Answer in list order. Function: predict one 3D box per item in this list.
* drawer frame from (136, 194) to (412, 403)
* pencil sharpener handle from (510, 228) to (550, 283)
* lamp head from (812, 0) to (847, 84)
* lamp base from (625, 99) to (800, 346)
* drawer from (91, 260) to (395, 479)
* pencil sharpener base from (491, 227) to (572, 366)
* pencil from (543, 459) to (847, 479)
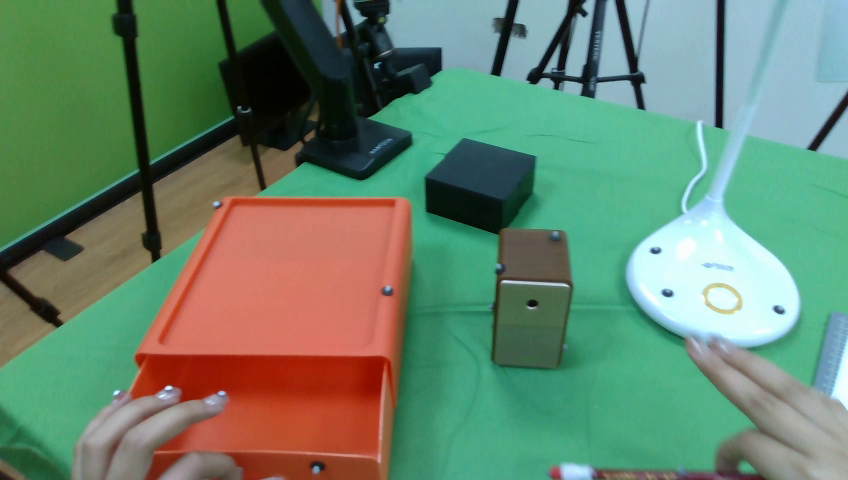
[{"bbox_3d":[-0.118,0.050,0.561,0.201,0.083,0.211,0,38,3],"label":"drawer frame"},{"bbox_3d":[0.096,0.008,0.565,0.036,0.068,0.030,7,40,2],"label":"pencil sharpener handle"},{"bbox_3d":[0.274,-0.151,0.330,0.112,0.123,0.112,-8,8,2],"label":"lamp head"},{"bbox_3d":[0.279,-0.025,0.560,0.160,0.182,0.177,0,37,3],"label":"lamp base"},{"bbox_3d":[-0.121,0.105,0.497,0.194,0.074,0.209,-1,39,3],"label":"drawer"},{"bbox_3d":[0.092,0.050,0.534,0.061,0.108,0.076,2,39,6],"label":"pencil sharpener base"},{"bbox_3d":[0.167,0.144,0.374,0.193,0.012,0.012,-10,33,29],"label":"pencil"}]
